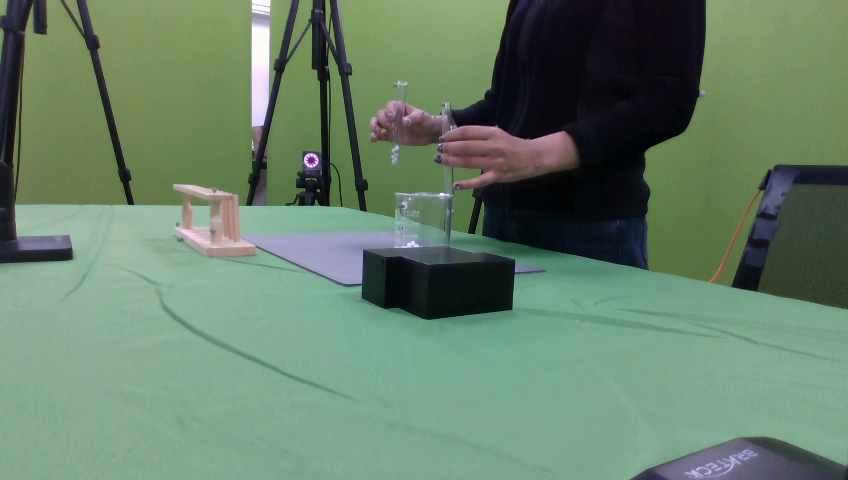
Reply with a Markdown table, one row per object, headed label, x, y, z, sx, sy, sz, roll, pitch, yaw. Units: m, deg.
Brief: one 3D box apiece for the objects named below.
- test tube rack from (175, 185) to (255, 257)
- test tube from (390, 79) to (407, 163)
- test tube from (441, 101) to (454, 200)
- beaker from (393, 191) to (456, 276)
| label | x | y | z | sx | sy | sz | roll | pitch | yaw |
| --- | --- | --- | --- | --- | --- | --- | --- | --- | --- |
| test tube rack | -0.324 | -0.035 | 0.922 | 0.067 | 0.085 | 0.241 | -2 | 9 | -31 |
| test tube | -0.043 | -0.200 | 1.028 | 0.017 | 0.150 | 0.017 | 6 | 33 | -4 |
| test tube | 0.035 | -0.131 | 0.884 | 0.017 | 0.150 | 0.017 | -1 | -12 | 0 |
| beaker | -0.003 | -0.010 | 0.749 | 0.074 | 0.100 | 0.083 | -3 | 8 | -40 |
